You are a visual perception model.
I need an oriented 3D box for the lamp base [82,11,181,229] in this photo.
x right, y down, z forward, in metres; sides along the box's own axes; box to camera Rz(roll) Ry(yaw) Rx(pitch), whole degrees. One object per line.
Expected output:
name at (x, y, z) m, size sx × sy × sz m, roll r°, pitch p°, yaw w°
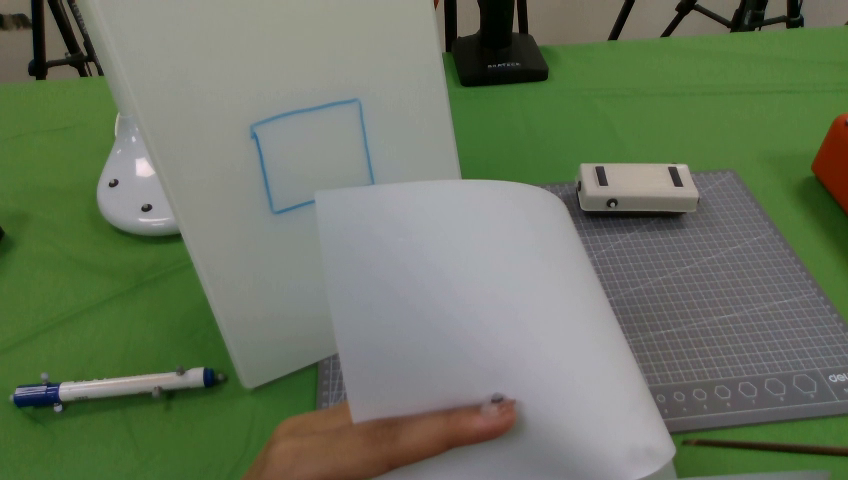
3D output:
lamp base at (-0.281, -0.128, 0.610) m, size 0.178 × 0.182 × 0.160 m, roll 25°, pitch 50°, yaw 28°

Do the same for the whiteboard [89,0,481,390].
whiteboard at (-0.098, -0.074, 0.502) m, size 0.217 × 0.308 × 0.142 m, roll -20°, pitch 28°, yaw -17°

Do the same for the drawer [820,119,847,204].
drawer at (0.522, -0.034, 0.562) m, size 0.194 × 0.074 × 0.209 m, roll -3°, pitch 44°, yaw 0°

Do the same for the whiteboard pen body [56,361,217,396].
whiteboard pen body at (-0.237, 0.111, 0.479) m, size 0.141 × 0.017 × 0.017 m, roll -5°, pitch 44°, yaw -8°

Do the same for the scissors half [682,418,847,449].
scissors half at (0.176, 0.071, 0.191) m, size 0.174 × 0.040 × 0.013 m, roll 2°, pitch 87°, yaw 26°

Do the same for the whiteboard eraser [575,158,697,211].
whiteboard eraser at (0.213, -0.055, 0.617) m, size 0.112 × 0.042 × 0.055 m, roll 0°, pitch 43°, yaw 2°

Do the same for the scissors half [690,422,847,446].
scissors half at (0.181, 0.073, 0.212) m, size 0.175 × 0.040 × 0.013 m, roll 5°, pitch 82°, yaw -1°

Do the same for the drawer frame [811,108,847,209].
drawer frame at (0.521, -0.040, 0.566) m, size 0.202 × 0.083 × 0.211 m, roll -4°, pitch 44°, yaw -1°

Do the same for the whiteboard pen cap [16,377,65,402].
whiteboard pen cap at (-0.296, 0.116, 0.471) m, size 0.033 × 0.018 × 0.018 m, roll -4°, pitch 44°, yaw -11°
